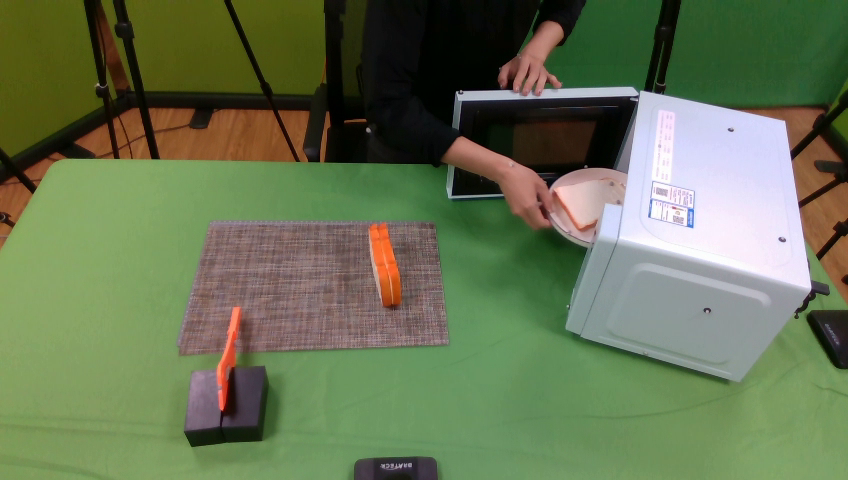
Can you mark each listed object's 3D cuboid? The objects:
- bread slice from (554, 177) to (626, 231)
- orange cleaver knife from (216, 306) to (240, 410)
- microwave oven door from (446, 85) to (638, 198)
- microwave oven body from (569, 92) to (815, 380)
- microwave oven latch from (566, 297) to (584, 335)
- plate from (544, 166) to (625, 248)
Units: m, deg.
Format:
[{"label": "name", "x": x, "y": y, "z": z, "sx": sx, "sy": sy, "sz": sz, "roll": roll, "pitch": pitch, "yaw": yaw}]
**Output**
[{"label": "bread slice", "x": 0.326, "y": -0.074, "z": 1.153, "sx": 0.134, "sy": 0.018, "sz": 0.106, "roll": -18, "pitch": 52, "yaw": -11}, {"label": "orange cleaver knife", "x": -0.307, "y": 0.180, "z": 0.957, "sx": 0.012, "sy": 0.077, "sz": 0.210, "roll": -2, "pitch": 25, "yaw": -8}, {"label": "microwave oven door", "x": 0.229, "y": -0.195, "z": 1.224, "sx": 0.356, "sy": 0.245, "sz": 0.039, "roll": -4, "pitch": 46, "yaw": -7}, {"label": "microwave oven body", "x": 0.468, "y": -0.022, "z": 1.082, "sx": 0.325, "sy": 0.261, "sz": 0.440, "roll": 15, "pitch": 46, "yaw": 11}, {"label": "microwave oven latch", "x": 0.268, "y": 0.126, "z": 1.059, "sx": 0.030, "sy": 0.029, "sz": 0.079, "roll": 16, "pitch": 46, "yaw": 12}, {"label": "plate", "x": 0.330, "y": -0.056, "z": 1.137, "sx": 0.208, "sy": 0.039, "sz": 0.206, "roll": -2, "pitch": 49, "yaw": 3}]
